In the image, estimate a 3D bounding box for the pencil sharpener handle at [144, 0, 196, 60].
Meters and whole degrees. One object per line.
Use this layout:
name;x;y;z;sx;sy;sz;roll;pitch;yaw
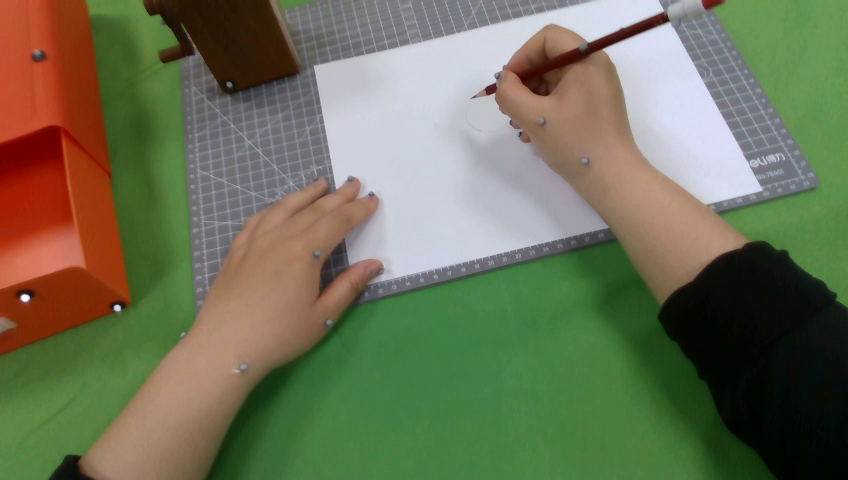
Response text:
pencil sharpener handle;-0.201;-0.167;0.466;0.030;0.068;0.035;-19;61;-3

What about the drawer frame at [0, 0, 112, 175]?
drawer frame;-0.375;-0.116;0.489;0.202;0.083;0.211;-21;63;-4

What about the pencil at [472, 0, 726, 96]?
pencil;0.095;-0.118;0.384;0.193;0.012;0.012;-8;52;52

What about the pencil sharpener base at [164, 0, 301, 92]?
pencil sharpener base;-0.152;-0.179;0.480;0.077;0.108;0.061;-19;63;-3

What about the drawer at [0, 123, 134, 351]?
drawer;-0.334;-0.019;0.440;0.194;0.074;0.209;-22;64;-4
